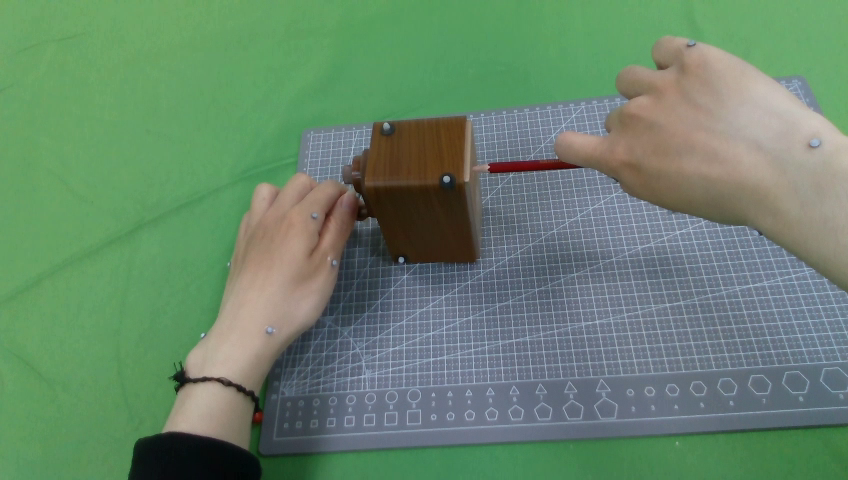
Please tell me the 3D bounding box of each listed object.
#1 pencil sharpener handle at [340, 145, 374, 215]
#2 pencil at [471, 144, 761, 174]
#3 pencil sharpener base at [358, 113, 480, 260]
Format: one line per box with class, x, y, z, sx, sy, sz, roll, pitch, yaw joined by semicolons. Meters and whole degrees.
pencil sharpener handle;-0.053;-0.040;0.443;0.030;0.068;0.035;-1;56;9
pencil;0.123;-0.052;0.405;0.194;0.012;0.012;-3;57;6
pencil sharpener base;-0.001;-0.035;0.446;0.076;0.108;0.061;-1;58;9
